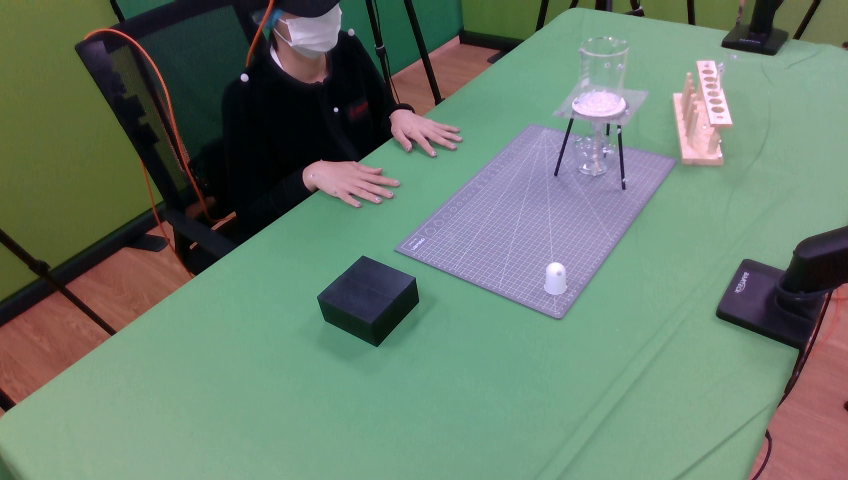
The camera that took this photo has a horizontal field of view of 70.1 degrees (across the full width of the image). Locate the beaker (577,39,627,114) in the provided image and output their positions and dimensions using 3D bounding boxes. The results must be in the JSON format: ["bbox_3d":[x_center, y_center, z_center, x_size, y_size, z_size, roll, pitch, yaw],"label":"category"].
[{"bbox_3d":[0.286,-0.264,0.976,0.073,0.100,0.084,25,49,33],"label":"beaker"}]

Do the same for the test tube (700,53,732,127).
[{"bbox_3d":[0.521,-0.265,1.081,0.017,0.151,0.017,-3,47,3],"label":"test tube"}]

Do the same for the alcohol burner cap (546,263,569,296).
[{"bbox_3d":[0.191,0.053,0.862,0.034,0.048,0.033,-5,40,4],"label":"alcohol burner cap"}]

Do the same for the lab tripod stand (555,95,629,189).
[{"bbox_3d":[0.300,-0.174,1.045,0.148,0.132,0.147,-5,38,5],"label":"lab tripod stand"}]

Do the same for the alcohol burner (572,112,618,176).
[{"bbox_3d":[0.301,-0.173,1.058,0.078,0.119,0.077,-3,41,4],"label":"alcohol burner"}]

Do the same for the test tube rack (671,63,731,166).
[{"bbox_3d":[0.513,-0.241,1.132,0.066,0.085,0.242,4,41,14],"label":"test tube rack"}]

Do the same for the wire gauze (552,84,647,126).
[{"bbox_3d":[0.293,-0.224,1.004,0.120,0.011,0.125,19,43,26],"label":"wire gauze"}]
